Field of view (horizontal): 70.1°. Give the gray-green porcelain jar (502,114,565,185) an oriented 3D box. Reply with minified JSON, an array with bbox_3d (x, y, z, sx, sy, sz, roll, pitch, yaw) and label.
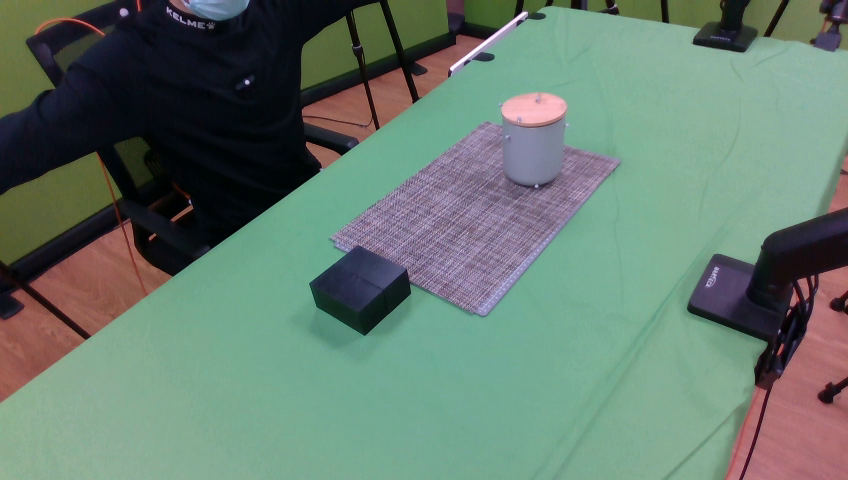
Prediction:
[{"bbox_3d":[0.189,-0.168,1.051,0.106,0.127,0.105,-4,41,4],"label":"gray-green porcelain jar"}]

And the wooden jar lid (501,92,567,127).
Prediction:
[{"bbox_3d":[0.183,-0.214,1.010,0.108,0.021,0.108,-5,40,5],"label":"wooden jar lid"}]
